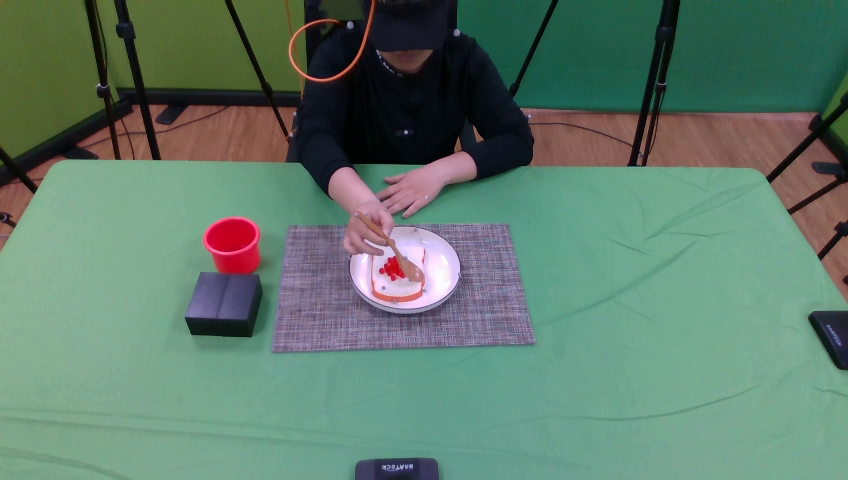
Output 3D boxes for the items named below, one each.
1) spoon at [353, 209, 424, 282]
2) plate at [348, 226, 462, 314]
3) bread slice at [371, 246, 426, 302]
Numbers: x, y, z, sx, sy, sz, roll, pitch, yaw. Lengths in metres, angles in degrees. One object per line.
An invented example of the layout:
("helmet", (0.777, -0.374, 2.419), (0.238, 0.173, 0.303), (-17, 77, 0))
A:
("spoon", (-0.058, 0.010, 1.032), (0.021, 0.195, 0.041), (-20, 40, 24))
("plate", (-0.035, 0.058, 1.123), (0.209, 0.038, 0.208), (2, 46, -2))
("bread slice", (-0.047, 0.060, 1.123), (0.105, 0.019, 0.130), (0, 46, -3))
